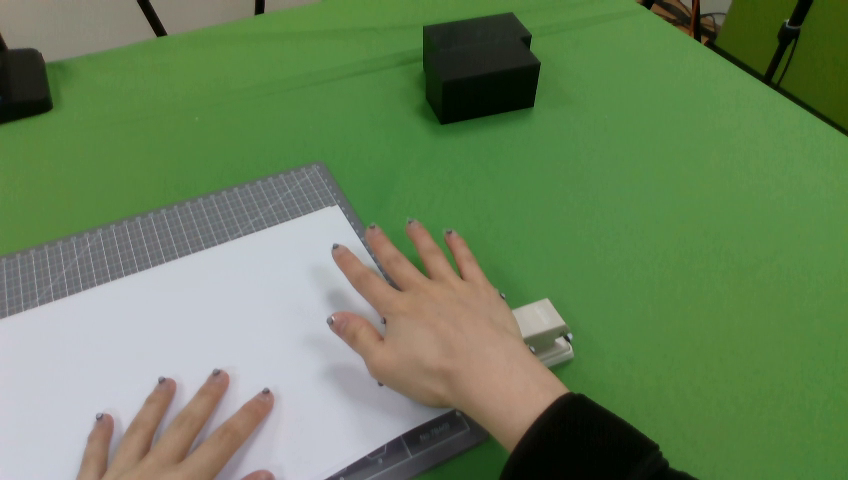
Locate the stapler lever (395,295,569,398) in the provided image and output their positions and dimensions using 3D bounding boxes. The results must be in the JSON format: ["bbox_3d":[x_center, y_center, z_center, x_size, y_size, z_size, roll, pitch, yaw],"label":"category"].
[{"bbox_3d":[0.037,0.067,0.393,0.118,0.040,0.026,-26,55,-7],"label":"stapler lever"}]

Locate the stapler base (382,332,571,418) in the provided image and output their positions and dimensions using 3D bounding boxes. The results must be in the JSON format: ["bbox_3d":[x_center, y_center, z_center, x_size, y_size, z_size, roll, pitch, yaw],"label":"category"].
[{"bbox_3d":[0.036,0.076,0.401,0.131,0.024,0.041,-17,53,-19],"label":"stapler base"}]
